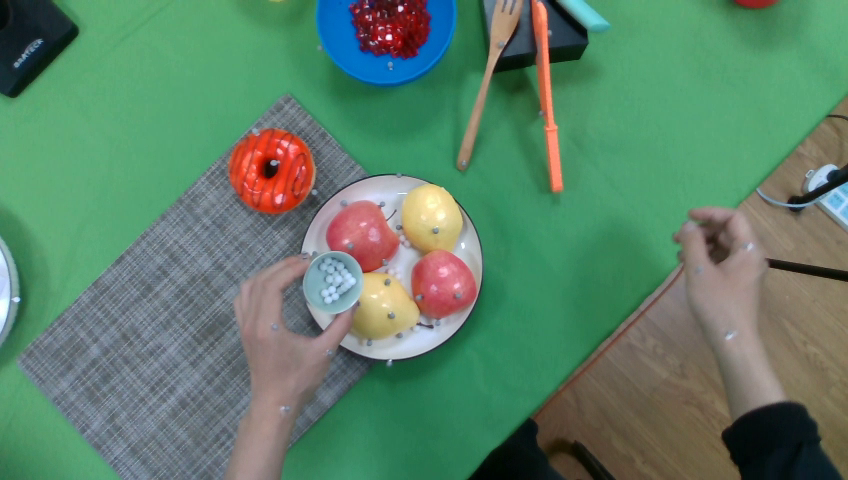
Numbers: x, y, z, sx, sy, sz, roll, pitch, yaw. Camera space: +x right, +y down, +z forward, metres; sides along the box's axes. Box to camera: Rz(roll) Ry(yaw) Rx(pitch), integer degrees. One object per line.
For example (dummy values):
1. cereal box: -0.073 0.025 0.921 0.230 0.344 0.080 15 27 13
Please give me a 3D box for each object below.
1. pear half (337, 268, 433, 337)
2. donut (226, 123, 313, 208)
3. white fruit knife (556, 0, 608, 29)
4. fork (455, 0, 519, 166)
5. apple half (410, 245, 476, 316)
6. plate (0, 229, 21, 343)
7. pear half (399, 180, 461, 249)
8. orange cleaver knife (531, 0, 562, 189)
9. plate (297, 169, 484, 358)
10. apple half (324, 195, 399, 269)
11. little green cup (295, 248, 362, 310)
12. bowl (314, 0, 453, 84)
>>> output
1. pear half: -0.040 0.074 0.669 0.110 0.056 0.076 18 93 -1
2. donut: -0.175 -0.084 0.691 0.099 0.048 0.099 0 90 4
3. white fruit knife: 0.118 -0.301 0.656 0.207 0.016 0.027 46 61 5
4. fork: 0.066 -0.179 0.667 0.028 0.018 0.208 14 109 -5
5. apple half: 0.013 0.047 0.664 0.081 0.033 0.081 4 103 21
6. plate: -0.568 0.056 0.709 0.207 0.039 0.207 0 87 3
7. pear half: 0.004 -0.021 0.670 0.070 0.031 0.088 -14 98 25
8. orange cleaver knife: 0.133 -0.163 0.666 0.012 0.076 0.213 -8 113 7
9. plate: -0.036 0.025 0.684 0.209 0.038 0.209 0 88 2
10. apple half: -0.072 -0.008 0.669 0.074 0.053 0.081 -27 90 2
11. little green cup: -0.097 0.036 0.597 0.062 0.038 0.061 -3 98 -28
12. bowl: -0.041 -0.241 0.679 0.151 0.077 0.151 0 88 2
